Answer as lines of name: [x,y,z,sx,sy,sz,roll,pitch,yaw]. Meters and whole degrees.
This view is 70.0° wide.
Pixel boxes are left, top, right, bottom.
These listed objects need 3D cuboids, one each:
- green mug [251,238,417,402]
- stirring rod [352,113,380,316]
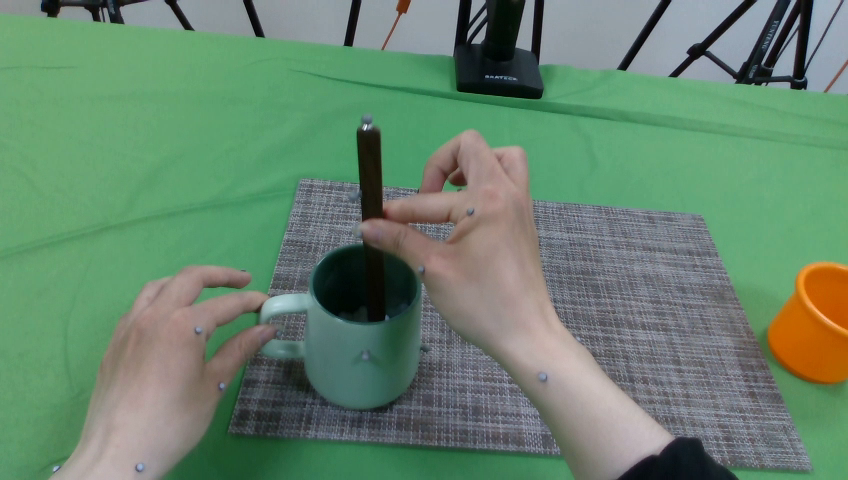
green mug: [-0.066,0.063,0.456,0.125,0.106,0.091,-3,46,-11]
stirring rod: [-0.036,-0.005,0.386,0.014,0.177,0.005,1,47,-3]
